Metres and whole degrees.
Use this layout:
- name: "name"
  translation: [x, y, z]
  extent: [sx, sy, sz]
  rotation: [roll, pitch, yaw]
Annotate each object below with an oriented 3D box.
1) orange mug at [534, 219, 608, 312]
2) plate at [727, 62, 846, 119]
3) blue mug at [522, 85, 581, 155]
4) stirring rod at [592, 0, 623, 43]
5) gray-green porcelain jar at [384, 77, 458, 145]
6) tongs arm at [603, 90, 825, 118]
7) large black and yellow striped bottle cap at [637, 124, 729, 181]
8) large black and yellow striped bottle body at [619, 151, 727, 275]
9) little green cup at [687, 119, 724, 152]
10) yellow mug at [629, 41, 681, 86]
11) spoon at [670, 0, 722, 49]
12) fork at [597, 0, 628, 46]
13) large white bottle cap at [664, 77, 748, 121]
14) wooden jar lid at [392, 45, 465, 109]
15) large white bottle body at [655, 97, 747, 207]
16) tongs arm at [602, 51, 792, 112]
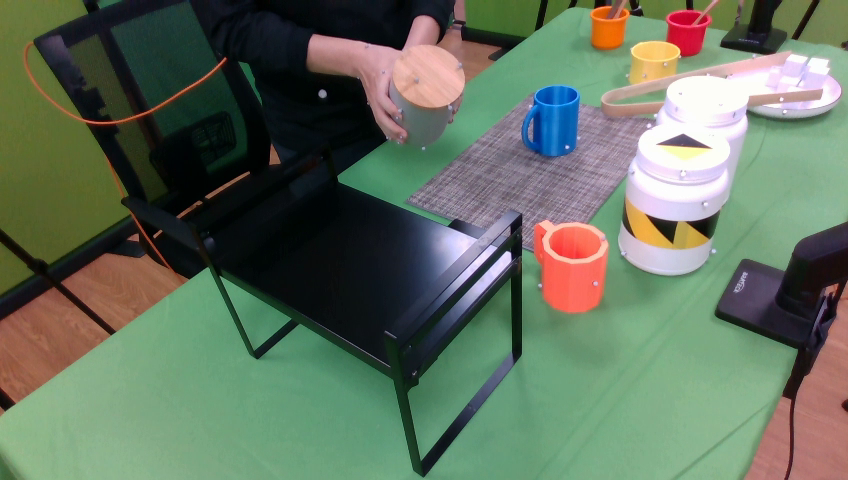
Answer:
- name: "orange mug"
  translation: [0.200, 0.027, 0.858]
  extent: [0.084, 0.101, 0.125]
  rotation: [-24, 47, -18]
- name: "plate"
  translation: [0.709, -0.292, 1.197]
  extent: [0.207, 0.039, 0.206]
  rotation: [-4, 40, 4]
- name: "blue mug"
  translation: [0.233, -0.218, 1.127]
  extent: [0.117, 0.106, 0.081]
  rotation: [-23, 43, -16]
- name: "stirring rod"
  translation: [0.460, -0.557, 1.461]
  extent: [0.014, 0.176, 0.006]
  rotation: [35, 11, 22]
- name: "gray-green porcelain jar"
  translation: [-0.006, -0.217, 0.948]
  extent: [0.106, 0.126, 0.105]
  rotation: [4, 70, -10]
- name: "tongs arm"
  translation: [0.546, -0.262, 1.163]
  extent: [0.386, 0.028, 0.028]
  rotation: [-1, 49, 18]
- name: "large black and yellow striped bottle cap"
  translation: [0.346, -0.119, 0.810]
  extent: [0.115, 0.019, 0.114]
  rotation: [-5, 41, 5]
- name: "large black and yellow striped bottle body"
  translation: [0.354, -0.056, 0.865]
  extent: [0.131, 0.185, 0.130]
  rotation: [-4, 41, 4]
- name: "little green cup"
  translation: [0.514, -0.191, 1.109]
  extent: [0.061, 0.039, 0.061]
  rotation: [-5, 40, 5]
- name: "yellow mug"
  translation: [0.495, -0.389, 1.321]
  extent: [0.100, 0.064, 0.130]
  rotation: [-14, 40, -6]
- name: "spoon"
  translation: [0.639, -0.510, 1.380]
  extent: [0.193, 0.022, 0.041]
  rotation: [-50, 40, 19]
- name: "fork"
  translation: [0.479, -0.558, 1.455]
  extent: [0.028, 0.019, 0.207]
  rotation: [35, 100, 38]
- name: "large white bottle cap"
  translation: [0.421, -0.212, 0.905]
  extent: [0.115, 0.018, 0.114]
  rotation: [-4, 40, 4]
- name: "wooden jar lid"
  translation: [0.006, -0.237, 0.890]
  extent: [0.109, 0.020, 0.108]
  rotation: [4, 68, -10]
- name: "large white bottle body"
  translation: [0.430, -0.148, 0.959]
  extent: [0.130, 0.185, 0.130]
  rotation: [-4, 41, 4]
- name: "tongs arm"
  translation: [0.552, -0.320, 1.224]
  extent: [0.384, 0.027, 0.050]
  rotation: [-10, 43, 7]
